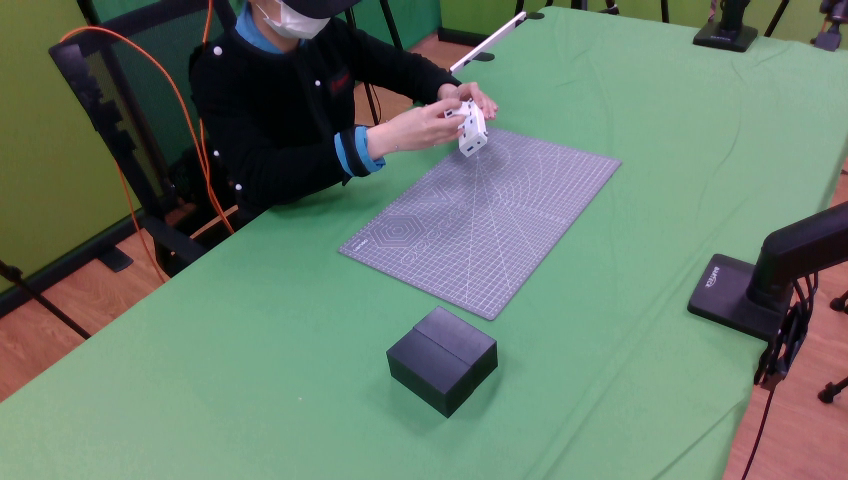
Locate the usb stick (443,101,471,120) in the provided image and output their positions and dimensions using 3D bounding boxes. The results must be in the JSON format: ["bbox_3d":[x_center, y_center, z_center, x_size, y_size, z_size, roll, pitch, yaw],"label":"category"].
[{"bbox_3d":[0.060,-0.220,1.032,0.021,0.027,0.059,-16,-4,41],"label":"usb stick"}]

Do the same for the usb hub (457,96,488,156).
[{"bbox_3d":[0.085,-0.206,1.085,0.049,0.025,0.124,-33,37,27],"label":"usb hub"}]
